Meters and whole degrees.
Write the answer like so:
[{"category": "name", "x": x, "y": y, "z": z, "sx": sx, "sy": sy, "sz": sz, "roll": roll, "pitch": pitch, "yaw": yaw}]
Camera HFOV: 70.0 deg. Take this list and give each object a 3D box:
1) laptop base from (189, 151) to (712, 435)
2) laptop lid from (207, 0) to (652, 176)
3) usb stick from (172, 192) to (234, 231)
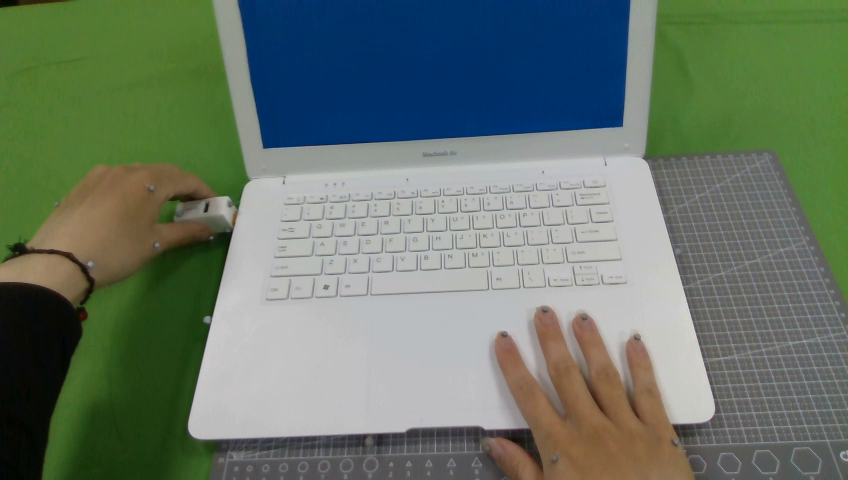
[{"category": "laptop base", "x": 0.013, "y": 0.031, "z": 0.471, "sx": 0.354, "sy": 0.023, "sz": 0.233, "roll": -3, "pitch": 57, "yaw": 4}, {"category": "laptop lid", "x": 0.004, "y": -0.169, "z": 0.490, "sx": 0.356, "sy": 0.243, "sz": 0.013, "roll": -4, "pitch": 24, "yaw": 4}, {"category": "usb stick", "x": -0.180, "y": -0.024, "z": 0.516, "sx": 0.059, "sy": 0.027, "sz": 0.021, "roll": -4, "pitch": 52, "yaw": 4}]
